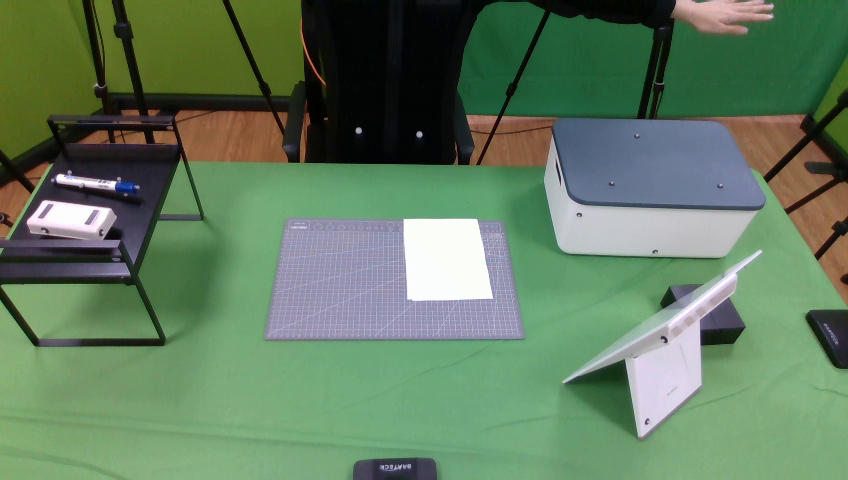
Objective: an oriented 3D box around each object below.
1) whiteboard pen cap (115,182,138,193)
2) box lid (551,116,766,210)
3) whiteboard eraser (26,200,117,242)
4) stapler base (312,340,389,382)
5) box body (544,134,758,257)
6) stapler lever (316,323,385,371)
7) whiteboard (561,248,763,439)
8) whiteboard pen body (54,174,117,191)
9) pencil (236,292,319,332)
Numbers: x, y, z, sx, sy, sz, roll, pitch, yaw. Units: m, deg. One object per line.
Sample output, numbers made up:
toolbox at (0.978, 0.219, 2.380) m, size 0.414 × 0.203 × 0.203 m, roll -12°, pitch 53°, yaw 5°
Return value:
whiteboard pen cap at (-0.483, -0.086, 0.984) m, size 0.033 × 0.018 × 0.018 m, roll 7°, pitch 46°, yaw 10°
box lid at (0.446, -0.155, 1.178) m, size 0.372 × 0.015 × 0.261 m, roll 1°, pitch 47°, yaw -2°
whiteboard eraser at (-0.532, -0.026, 0.919) m, size 0.113 × 0.042 × 0.055 m, roll 7°, pitch 45°, yaw 3°
stapler base at (-0.123, 0.189, 0.997) m, size 0.130 × 0.024 × 0.041 m, roll 20°, pitch 49°, yaw 16°
box body at (0.441, -0.103, 1.233) m, size 0.364 × 0.161 × 0.252 m, roll 1°, pitch 46°, yaw -3°
stapler lever at (-0.120, 0.171, 0.979) m, size 0.118 × 0.040 × 0.027 m, roll 21°, pitch 49°, yaw 15°
whiteboard at (0.386, 0.176, 0.905) m, size 0.217 × 0.306 × 0.143 m, roll -26°, pitch 72°, yaw -27°
whiteboard pen body at (-0.541, -0.093, 0.993) m, size 0.140 × 0.017 × 0.017 m, roll 7°, pitch 46°, yaw 9°
pencil at (-0.244, 0.131, 1.055) m, size 0.193 × 0.012 × 0.012 m, roll 22°, pitch 49°, yaw 12°
